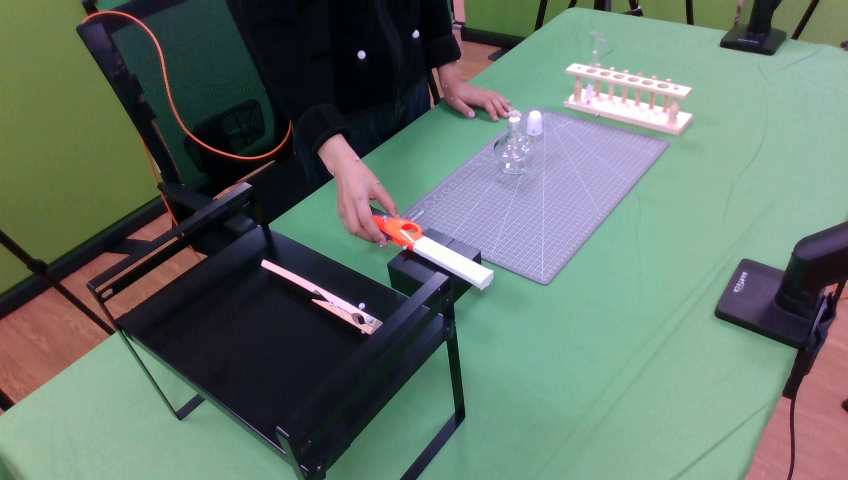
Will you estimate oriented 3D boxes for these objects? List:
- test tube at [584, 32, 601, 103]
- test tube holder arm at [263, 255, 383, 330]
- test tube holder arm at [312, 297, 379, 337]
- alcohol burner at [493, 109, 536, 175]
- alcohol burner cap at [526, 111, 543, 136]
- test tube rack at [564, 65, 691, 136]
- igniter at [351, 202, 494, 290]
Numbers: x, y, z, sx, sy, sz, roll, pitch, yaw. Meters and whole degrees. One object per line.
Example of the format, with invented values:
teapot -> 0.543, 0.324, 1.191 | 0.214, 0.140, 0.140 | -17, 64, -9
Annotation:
test tube -> 0.333, -0.338, 1.198 | 0.017, 0.151, 0.017 | -3, 45, 3
test tube holder arm -> -0.113, 0.054, 0.647 | 0.177, 0.015, 0.013 | 26, 80, 33
test tube holder arm -> -0.082, 0.075, 0.622 | 0.087, 0.015, 0.010 | 27, 80, 33
alcohol burner -> 0.163, -0.179, 1.087 | 0.078, 0.119, 0.077 | -5, 38, 4
alcohol burner cap -> 0.219, -0.232, 1.196 | 0.034, 0.048, 0.033 | -4, 41, 4
test tube rack -> 0.404, -0.288, 1.204 | 0.240, 0.085, 0.067 | 24, 49, 32
igniter -> -0.013, 0.002, 0.900 | 0.274, 0.025, 0.057 | 28, 49, 33
